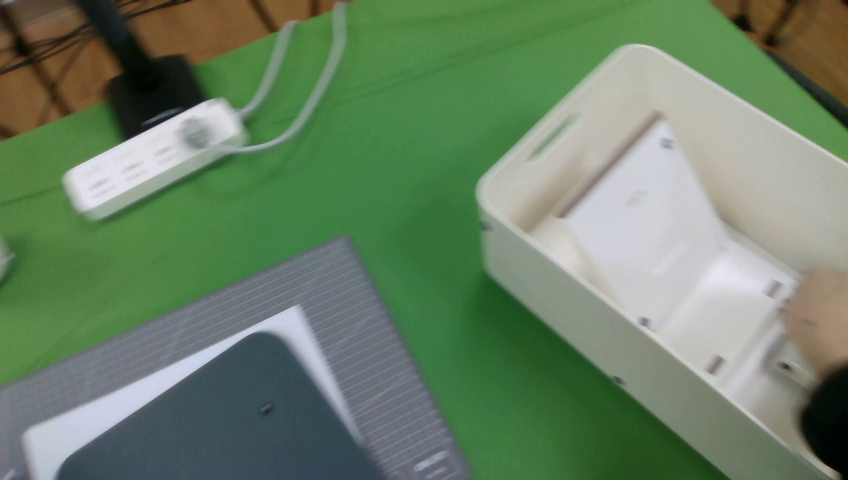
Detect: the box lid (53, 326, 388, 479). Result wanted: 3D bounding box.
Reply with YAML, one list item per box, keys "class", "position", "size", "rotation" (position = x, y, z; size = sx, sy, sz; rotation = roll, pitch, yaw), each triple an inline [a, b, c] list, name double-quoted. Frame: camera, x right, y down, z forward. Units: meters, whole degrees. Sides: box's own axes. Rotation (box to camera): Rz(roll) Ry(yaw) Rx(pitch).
- class: "box lid"
  position: [-0.155, 0.278, 0.553]
  size: [0.263, 0.015, 0.368]
  rotation: [-35, 67, -14]

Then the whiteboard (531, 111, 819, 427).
- class: "whiteboard"
  position: [0.261, 0.016, 0.593]
  size: [0.217, 0.145, 0.303]
  rotation: [-42, 67, -18]

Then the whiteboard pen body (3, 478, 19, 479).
- class: "whiteboard pen body"
  position: [-0.373, 0.287, 0.549]
  size: [0.017, 0.017, 0.139]
  rotation: [-17, 66, -6]

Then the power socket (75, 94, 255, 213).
- class: "power socket"
  position: [-0.315, -0.109, 0.745]
  size: [0.227, 0.033, 0.071]
  rotation: [-29, 66, -12]

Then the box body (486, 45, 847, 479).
- class: "box body"
  position: [0.264, 0.022, 0.579]
  size: [0.254, 0.161, 0.361]
  rotation: [-42, 69, -17]

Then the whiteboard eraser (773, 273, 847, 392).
- class: "whiteboard eraser"
  position: [0.393, 0.090, 0.590]
  size: [0.055, 0.042, 0.112]
  rotation: [34, 70, 26]

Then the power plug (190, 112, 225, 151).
- class: "power plug"
  position: [-0.257, -0.121, 0.724]
  size: [0.035, 0.053, 0.072]
  rotation: [-20, 70, -8]

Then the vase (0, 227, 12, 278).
- class: "vase"
  position: [-0.522, -0.016, 0.614]
  size: [0.098, 0.201, 0.097]
  rotation: [-2, 63, 4]
